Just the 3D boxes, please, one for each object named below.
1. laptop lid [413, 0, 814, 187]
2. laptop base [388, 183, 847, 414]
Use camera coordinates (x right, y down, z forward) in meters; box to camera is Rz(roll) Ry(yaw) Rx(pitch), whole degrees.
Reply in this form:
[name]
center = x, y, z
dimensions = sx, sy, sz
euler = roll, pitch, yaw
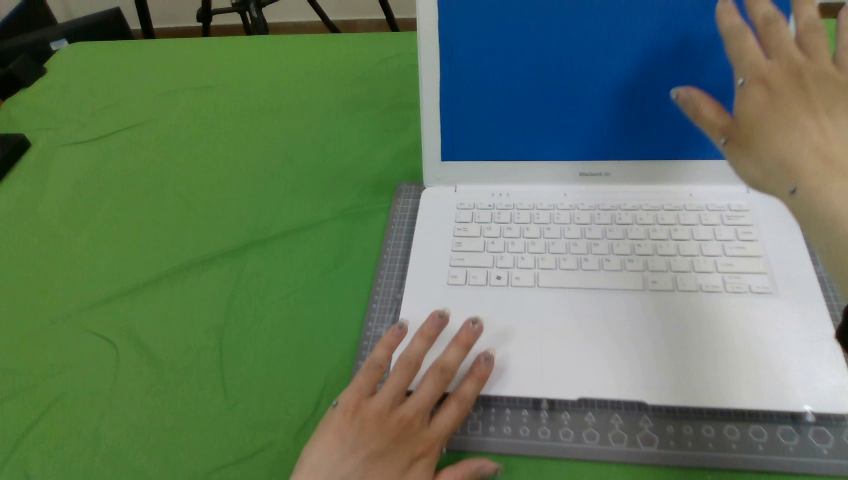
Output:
[laptop lid]
center = 0.166, -0.158, 0.572
dimensions = 0.356, 0.243, 0.013
euler = -1, 21, 9
[laptop base]
center = 0.157, 0.039, 0.540
dimensions = 0.354, 0.023, 0.233
euler = 1, 52, 9
